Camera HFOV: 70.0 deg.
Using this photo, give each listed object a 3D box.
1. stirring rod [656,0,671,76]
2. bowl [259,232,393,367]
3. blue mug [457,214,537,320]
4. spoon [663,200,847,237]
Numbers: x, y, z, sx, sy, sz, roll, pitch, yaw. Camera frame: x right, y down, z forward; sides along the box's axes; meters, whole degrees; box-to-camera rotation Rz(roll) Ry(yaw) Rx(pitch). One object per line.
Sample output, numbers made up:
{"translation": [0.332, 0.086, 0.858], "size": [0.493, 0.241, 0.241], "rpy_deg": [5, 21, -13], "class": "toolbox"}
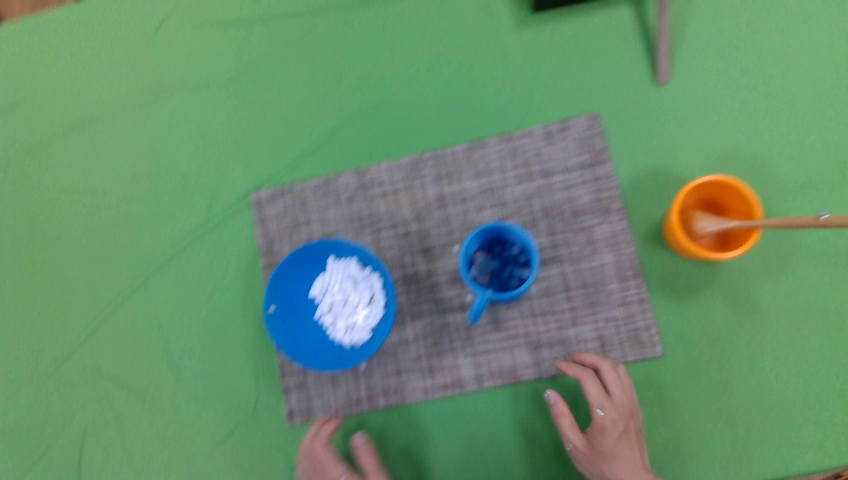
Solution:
{"translation": [0.282, -0.283, 0.708], "size": [0.014, 0.006, 0.177], "rpy_deg": [-3, 104, 1], "class": "stirring rod"}
{"translation": [-0.104, 0.070, 0.702], "size": [0.151, 0.077, 0.151], "rpy_deg": [-1, 83, 7], "class": "bowl"}
{"translation": [0.073, 0.036, 0.671], "size": [0.082, 0.106, 0.116], "rpy_deg": [26, 87, 10], "class": "blue mug"}
{"translation": [0.335, -0.024, 0.624], "size": [0.192, 0.022, 0.041], "rpy_deg": [-1, 86, 48], "class": "spoon"}
